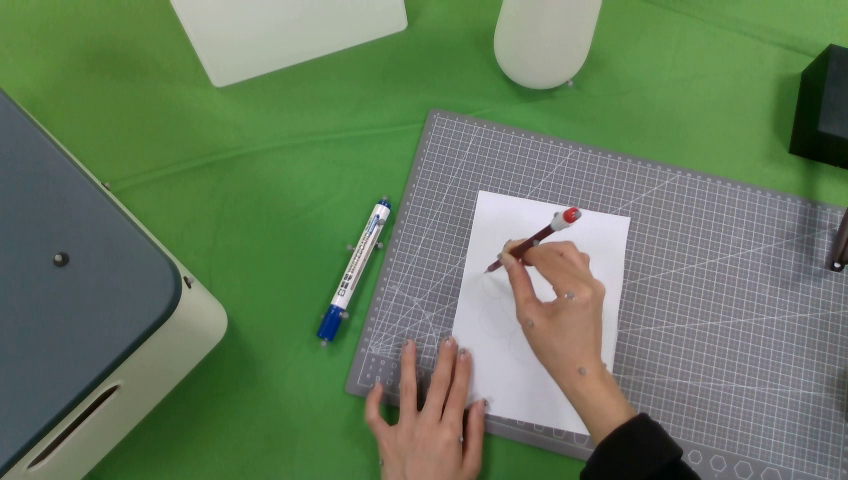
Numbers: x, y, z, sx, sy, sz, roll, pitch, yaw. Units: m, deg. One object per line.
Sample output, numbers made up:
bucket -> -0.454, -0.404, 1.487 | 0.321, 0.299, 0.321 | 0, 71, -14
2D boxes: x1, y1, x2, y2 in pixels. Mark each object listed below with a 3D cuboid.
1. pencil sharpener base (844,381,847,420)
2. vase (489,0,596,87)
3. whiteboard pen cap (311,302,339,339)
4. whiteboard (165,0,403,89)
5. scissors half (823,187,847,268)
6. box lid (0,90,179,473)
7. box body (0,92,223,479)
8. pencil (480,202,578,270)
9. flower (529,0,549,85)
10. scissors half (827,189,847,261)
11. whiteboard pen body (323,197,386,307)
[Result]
pencil sharpener base -> 0.421, 0.131, 0.500 | 0.076, 0.107, 0.061 | 19, 73, 2
vase -> 0.114, -0.228, 0.557 | 0.098, 0.201, 0.097 | 0, 72, 1
whiteboard pen cap -> -0.090, 0.073, 0.558 | 0.018, 0.018, 0.033 | 21, 71, 6
whiteboard -> -0.162, -0.333, 0.562 | 0.217, 0.308, 0.142 | -19, 55, -5
scissors half -> 0.407, -0.057, 0.571 | 0.012, 0.040, 0.175 | 17, 93, 29
box lid -> -0.383, 0.003, 0.427 | 0.370, 0.015, 0.263 | 41, 77, 10
box body -> -0.381, 0.026, 0.498 | 0.362, 0.161, 0.254 | 41, 78, 11
pencil -> 0.076, 0.003, 0.489 | 0.012, 0.194, 0.012 | 3, 75, -12
flower -> 0.110, -0.267, 0.481 | 0.044, 0.365, 0.038 | 8, 56, 6
scissors half -> 0.398, -0.062, 0.553 | 0.013, 0.040, 0.174 | 17, 76, 24
whiteboard pen body -> -0.069, 0.021, 0.576 | 0.017, 0.017, 0.140 | 21, 73, 6
